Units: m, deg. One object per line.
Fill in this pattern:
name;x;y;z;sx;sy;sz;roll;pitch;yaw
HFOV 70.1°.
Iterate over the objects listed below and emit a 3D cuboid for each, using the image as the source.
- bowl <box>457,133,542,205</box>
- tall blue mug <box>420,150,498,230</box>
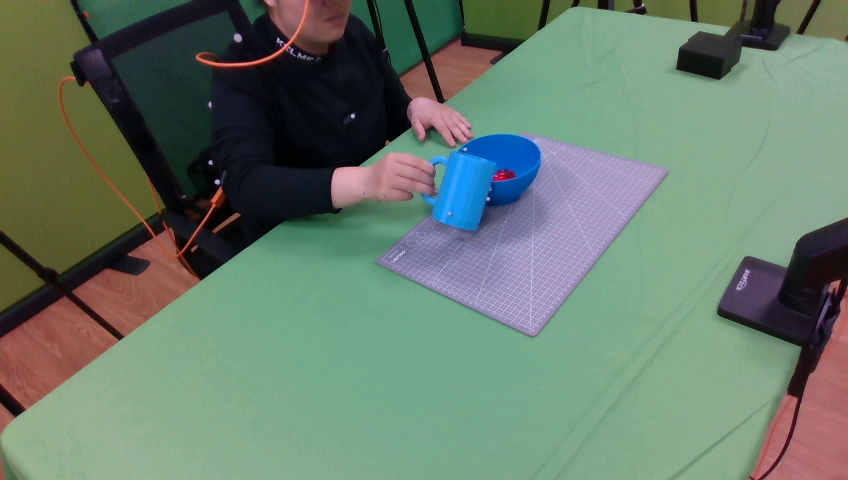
bowl;0.129;-0.112;1.045;0.151;0.077;0.150;-5;40;5
tall blue mug;0.048;-0.082;0.941;0.107;0.108;0.077;15;13;-5
